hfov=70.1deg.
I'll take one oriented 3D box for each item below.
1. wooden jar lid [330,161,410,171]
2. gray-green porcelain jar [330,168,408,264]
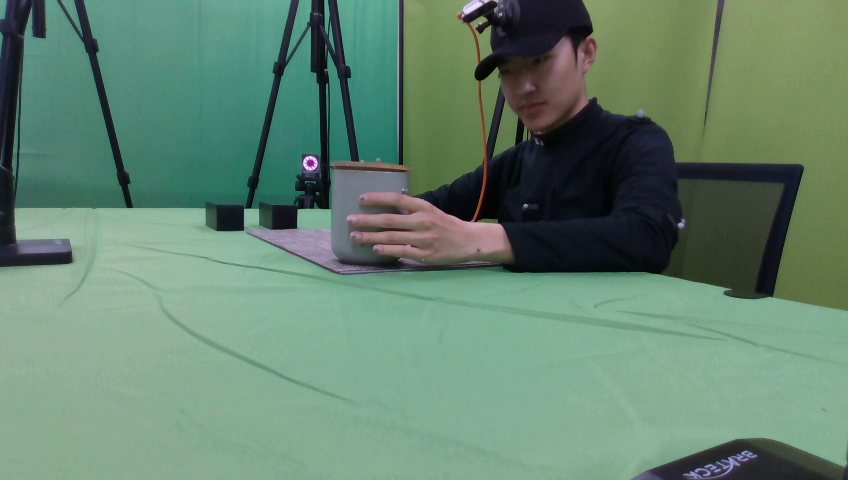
[{"bbox_3d":[-0.073,-0.096,0.825,0.108,0.020,0.108,3,3,0],"label":"wooden jar lid"},{"bbox_3d":[-0.076,-0.034,0.833,0.106,0.126,0.106,1,7,0],"label":"gray-green porcelain jar"}]
